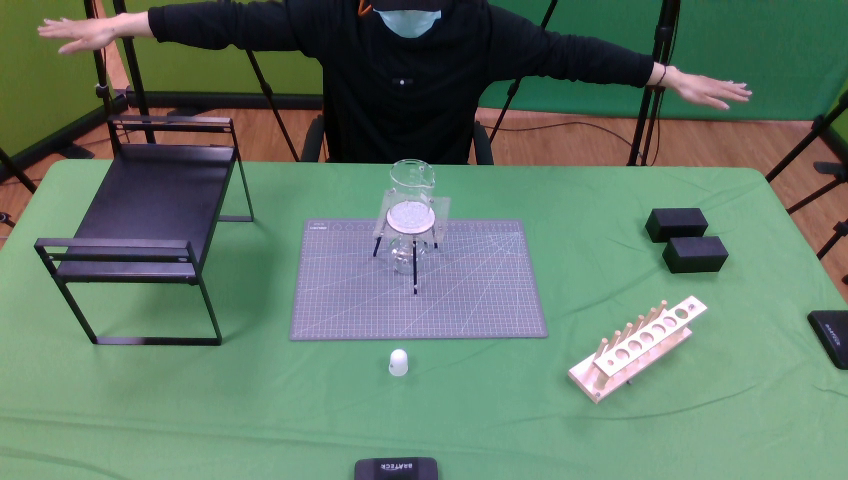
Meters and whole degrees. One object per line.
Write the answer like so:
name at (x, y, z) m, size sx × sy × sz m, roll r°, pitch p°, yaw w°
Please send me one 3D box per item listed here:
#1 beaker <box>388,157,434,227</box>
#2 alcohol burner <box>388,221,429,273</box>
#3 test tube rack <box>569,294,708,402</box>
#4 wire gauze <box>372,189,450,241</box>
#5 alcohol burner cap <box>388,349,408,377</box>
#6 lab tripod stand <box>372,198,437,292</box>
beaker at (-0.021, -0.077, 1.026) m, size 0.083 × 0.101 × 0.074 m, roll 30°, pitch 50°, yaw 22°
alcohol burner at (-0.028, 0.006, 1.118) m, size 0.078 × 0.119 × 0.077 m, roll 2°, pitch 48°, yaw -2°
test tube rack at (0.360, 0.167, 1.014) m, size 0.242 × 0.085 × 0.066 m, roll -25°, pitch 53°, yaw -25°
wire gauze at (-0.020, -0.043, 1.061) m, size 0.121 × 0.011 × 0.124 m, roll 9°, pitch 42°, yaw 2°
alcohol burner cap at (-0.042, 0.197, 0.989) m, size 0.034 × 0.048 × 0.033 m, roll 3°, pitch 46°, yaw -2°
lab tripod stand at (-0.025, -0.002, 1.112) m, size 0.148 × 0.132 × 0.147 m, roll 2°, pitch 44°, yaw -2°
